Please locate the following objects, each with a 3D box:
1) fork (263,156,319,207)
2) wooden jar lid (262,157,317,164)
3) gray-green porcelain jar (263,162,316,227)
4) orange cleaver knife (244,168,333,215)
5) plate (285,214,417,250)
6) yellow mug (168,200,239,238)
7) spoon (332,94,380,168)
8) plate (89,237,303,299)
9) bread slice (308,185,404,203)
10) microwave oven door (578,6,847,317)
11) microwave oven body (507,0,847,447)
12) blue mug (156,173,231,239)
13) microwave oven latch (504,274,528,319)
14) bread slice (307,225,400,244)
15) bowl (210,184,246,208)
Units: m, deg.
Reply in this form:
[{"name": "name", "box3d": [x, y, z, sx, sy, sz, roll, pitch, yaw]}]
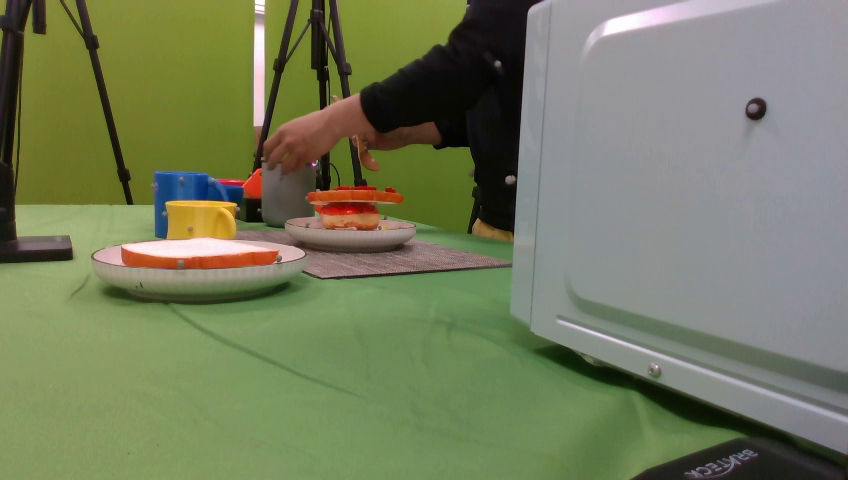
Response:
[{"name": "fork", "box3d": [-0.331, -0.144, 1.505, 0.207, 0.018, 0.028, -42, -20, 22]}, {"name": "wooden jar lid", "box3d": [-0.269, -0.154, 1.208, 0.108, 0.020, 0.108, 3, 4, 0]}, {"name": "gray-green porcelain jar", "box3d": [-0.271, -0.092, 1.218, 0.106, 0.126, 0.106, 2, 7, 0]}, {"name": "orange cleaver knife", "box3d": [-0.300, -0.089, 1.351, 0.212, 0.077, 0.012, 28, -9, -34]}, {"name": "plate", "box3d": [-0.116, -0.014, 0.964, 0.209, 0.038, 0.209, 2, 8, 0]}, {"name": "yellow mug", "box3d": [-0.320, -0.023, 0.904, 0.130, 0.064, 0.100, 9, 10, 36]}, {"name": "spoon", "box3d": [-0.144, -0.228, 1.253, 0.042, 0.193, 0.021, -14, -17, -44]}, {"name": "plate", "box3d": [-0.233, 0.029, 0.637, 0.208, 0.039, 0.207, 2, 7, 0]}, {"name": "bread slice", "box3d": [-0.113, -0.072, 0.953, 0.134, 0.018, 0.107, -2, -1, 21]}, {"name": "microwave oven door", "box3d": [0.294, -0.067, 0.570, 0.358, 0.243, 0.039, -3, 9, -31]}, {"name": "microwave oven body", "box3d": [0.331, -0.042, 0.425, 0.444, 0.260, 0.324, -2, 8, -31]}, {"name": "blue mug", "box3d": [-0.381, -0.057, 1.004, 0.117, 0.106, 0.082, 0, 8, -12]}, {"name": "microwave oven latch", "box3d": [0.100, 0.041, 0.470, 0.079, 0.029, 0.030, -1, 7, -27]}, {"name": "bread slice", "box3d": [-0.103, -0.009, 0.962, 0.131, 0.019, 0.105, 2, 8, 25]}, {"name": "bowl", "box3d": [-0.422, -0.067, 1.166, 0.151, 0.077, 0.151, 2, 7, 0]}]
